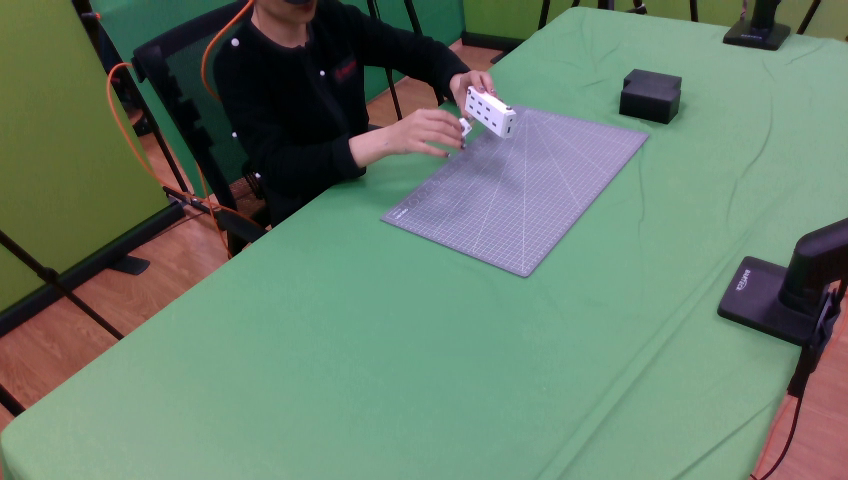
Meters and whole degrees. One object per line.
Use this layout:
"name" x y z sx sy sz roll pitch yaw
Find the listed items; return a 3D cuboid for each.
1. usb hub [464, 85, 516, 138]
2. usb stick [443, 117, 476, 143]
"usb hub" 0.120 -0.237 1.108 0.025 0.049 0.124 -16 44 -29
"usb stick" 0.065 -0.200 1.074 0.059 0.027 0.021 -39 18 -9
